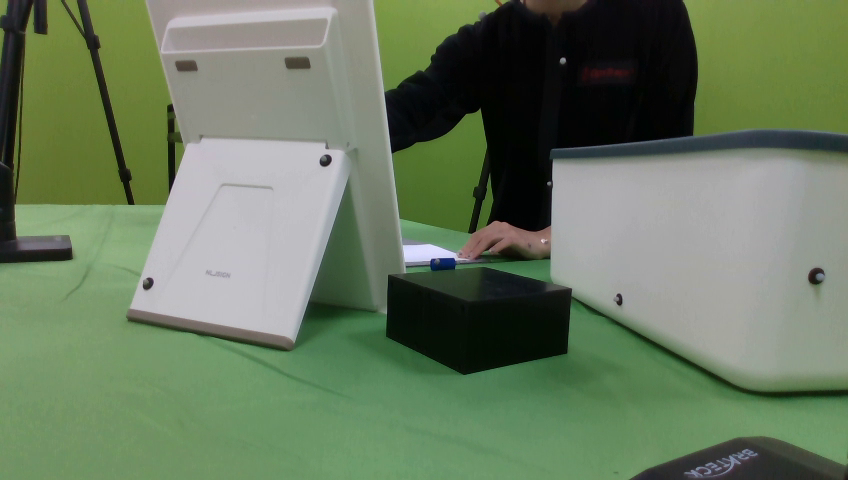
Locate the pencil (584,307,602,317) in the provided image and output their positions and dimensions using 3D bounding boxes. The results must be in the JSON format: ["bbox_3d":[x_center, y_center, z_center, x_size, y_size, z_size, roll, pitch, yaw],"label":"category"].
[{"bbox_3d":[0.250,0.055,0.656,0.195,0.012,0.012,-13,14,-26],"label":"pencil"}]

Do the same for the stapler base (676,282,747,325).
[{"bbox_3d":[0.283,0.057,0.585,0.041,0.024,0.131,30,18,34],"label":"stapler base"}]

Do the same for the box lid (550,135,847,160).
[{"bbox_3d":[0.294,-0.071,0.538,0.264,0.015,0.370,2,6,-10],"label":"box lid"}]

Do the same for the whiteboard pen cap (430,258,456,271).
[{"bbox_3d":[0.024,0.031,0.791,0.033,0.018,0.018,1,8,-12],"label":"whiteboard pen cap"}]

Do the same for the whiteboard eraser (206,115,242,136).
[{"bbox_3d":[-0.438,-0.249,1.320,0.056,0.042,0.112,-3,9,-30],"label":"whiteboard eraser"}]

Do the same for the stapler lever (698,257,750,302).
[{"bbox_3d":[0.291,0.035,0.580,0.026,0.040,0.119,30,20,34],"label":"stapler lever"}]

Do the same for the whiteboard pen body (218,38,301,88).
[{"bbox_3d":[-0.156,-0.170,0.579,0.017,0.017,0.141,5,33,18],"label":"whiteboard pen body"}]

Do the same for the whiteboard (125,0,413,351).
[{"bbox_3d":[-0.151,-0.050,0.471,0.216,0.305,0.144,6,27,24],"label":"whiteboard"}]

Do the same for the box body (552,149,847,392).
[{"bbox_3d":[0.290,0.002,0.549,0.255,0.160,0.363,2,7,-10],"label":"box body"}]
